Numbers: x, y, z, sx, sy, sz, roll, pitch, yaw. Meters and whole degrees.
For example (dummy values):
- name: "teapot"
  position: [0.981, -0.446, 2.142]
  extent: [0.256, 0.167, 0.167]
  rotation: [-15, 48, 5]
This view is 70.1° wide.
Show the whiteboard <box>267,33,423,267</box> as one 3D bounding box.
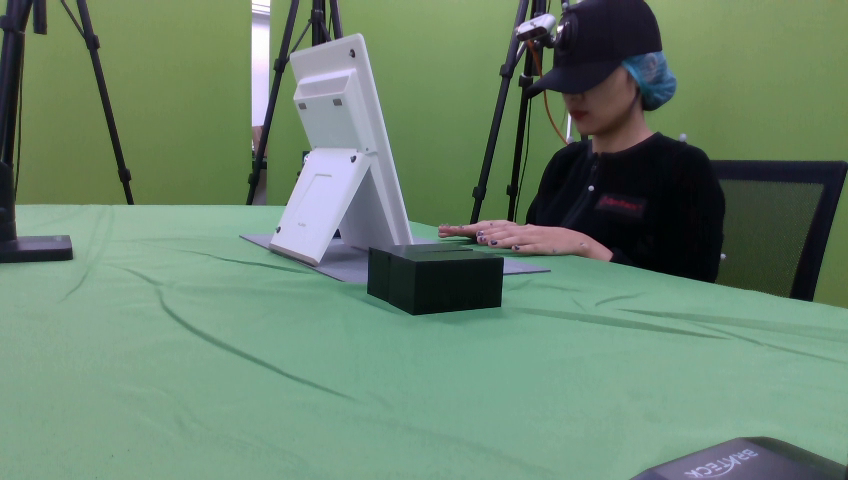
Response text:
- name: "whiteboard"
  position: [-0.153, -0.097, 0.819]
  extent: [0.144, 0.305, 0.216]
  rotation: [-25, 21, -29]

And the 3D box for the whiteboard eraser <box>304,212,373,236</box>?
- name: "whiteboard eraser"
  position: [-0.152, -0.029, 1.077]
  extent: [0.113, 0.042, 0.055]
  rotation: [-2, 8, -31]
